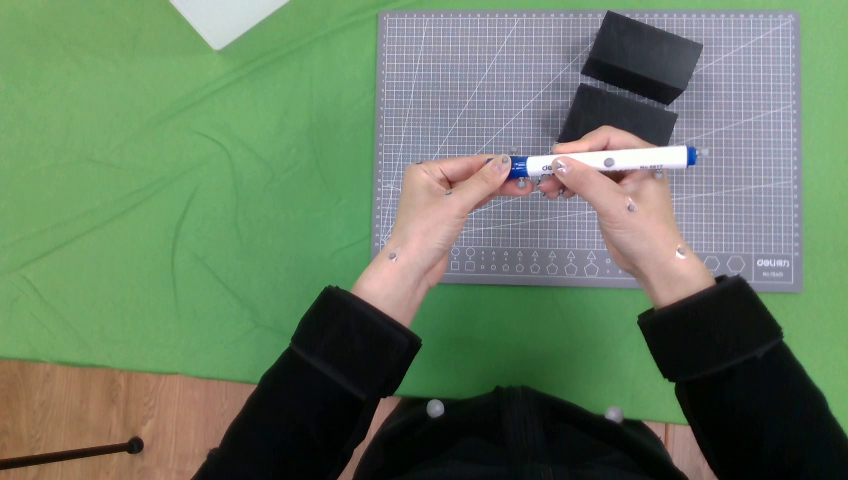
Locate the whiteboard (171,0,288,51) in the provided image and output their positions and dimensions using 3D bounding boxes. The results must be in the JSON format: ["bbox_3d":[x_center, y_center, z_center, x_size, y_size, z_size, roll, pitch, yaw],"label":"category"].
[{"bbox_3d":[-0.219,-0.378,0.570,0.217,0.308,0.142,-34,65,2],"label":"whiteboard"}]

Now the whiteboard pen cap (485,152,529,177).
[{"bbox_3d":[0.064,-0.057,0.456,0.033,0.018,0.018,-3,86,20],"label":"whiteboard pen cap"}]

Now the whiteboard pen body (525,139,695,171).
[{"bbox_3d":[0.118,-0.060,0.435,0.140,0.017,0.017,-1,86,20],"label":"whiteboard pen body"}]
